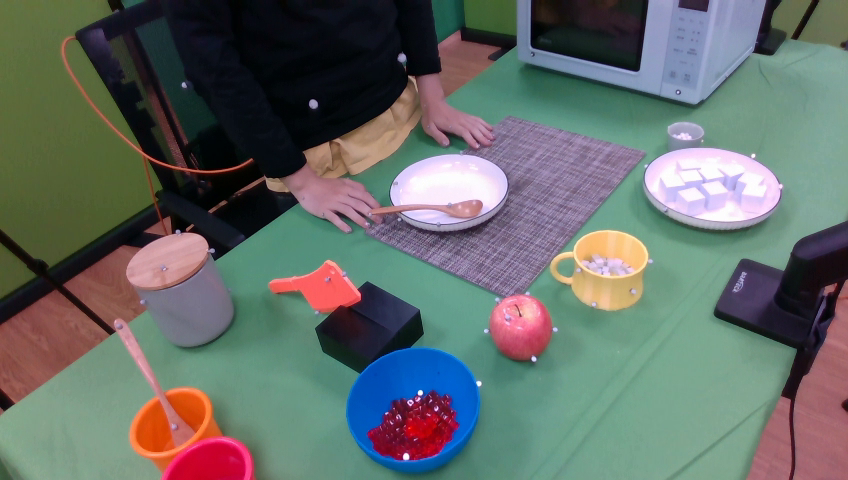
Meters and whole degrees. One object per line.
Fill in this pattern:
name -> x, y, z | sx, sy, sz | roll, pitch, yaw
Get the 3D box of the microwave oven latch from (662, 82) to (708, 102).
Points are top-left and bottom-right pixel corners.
microwave oven latch -> 0.517, -0.298, 1.202 | 0.078, 0.029, 0.030 | 27, 52, 34

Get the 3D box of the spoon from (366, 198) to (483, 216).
spoon -> 0.002, -0.055, 0.996 | 0.194, 0.022, 0.041 | -1, 45, -10

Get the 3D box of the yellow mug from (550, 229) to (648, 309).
yellow mug -> 0.245, 0.040, 0.856 | 0.130, 0.064, 0.099 | 1, 42, 11

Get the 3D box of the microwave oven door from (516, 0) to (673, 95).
microwave oven door -> 0.344, -0.458, 1.256 | 0.353, 0.245, 0.039 | 26, 51, 33

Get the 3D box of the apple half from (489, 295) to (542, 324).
apple half -> 0.120, 0.098, 0.800 | 0.081, 0.081, 0.032 | -10, 44, -4

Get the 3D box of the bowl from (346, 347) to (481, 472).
bowl -> -0.008, 0.205, 0.691 | 0.151, 0.077, 0.150 | -4, 40, 4

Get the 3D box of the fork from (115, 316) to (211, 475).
fork -> -0.308, 0.179, 0.707 | 0.028, 0.018, 0.207 | -30, 89, -21

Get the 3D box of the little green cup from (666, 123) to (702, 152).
little green cup -> 0.472, -0.183, 1.102 | 0.061, 0.039, 0.061 | -5, 40, 5

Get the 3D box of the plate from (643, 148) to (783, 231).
plate -> 0.464, -0.080, 0.986 | 0.207, 0.039, 0.206 | -4, 41, 4

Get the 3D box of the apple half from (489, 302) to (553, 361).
apple half -> 0.127, 0.123, 0.771 | 0.081, 0.075, 0.053 | -8, 43, -6

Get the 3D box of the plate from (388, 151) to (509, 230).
plate -> 0.044, -0.082, 1.042 | 0.209, 0.038, 0.208 | -4, 40, 4

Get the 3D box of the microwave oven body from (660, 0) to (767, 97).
microwave oven body -> 0.473, -0.516, 1.313 | 0.438, 0.261, 0.327 | 26, 51, 34

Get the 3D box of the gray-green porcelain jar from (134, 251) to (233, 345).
gray-green porcelain jar -> -0.334, 0.076, 0.849 | 0.106, 0.127, 0.105 | -4, 41, 4

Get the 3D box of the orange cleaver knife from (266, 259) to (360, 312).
orange cleaver knife -> -0.161, 0.070, 0.859 | 0.210, 0.077, 0.012 | -13, 22, 49

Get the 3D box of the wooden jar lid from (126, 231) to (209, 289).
wooden jar lid -> -0.340, 0.030, 0.808 | 0.108, 0.021, 0.108 | -5, 39, 5
